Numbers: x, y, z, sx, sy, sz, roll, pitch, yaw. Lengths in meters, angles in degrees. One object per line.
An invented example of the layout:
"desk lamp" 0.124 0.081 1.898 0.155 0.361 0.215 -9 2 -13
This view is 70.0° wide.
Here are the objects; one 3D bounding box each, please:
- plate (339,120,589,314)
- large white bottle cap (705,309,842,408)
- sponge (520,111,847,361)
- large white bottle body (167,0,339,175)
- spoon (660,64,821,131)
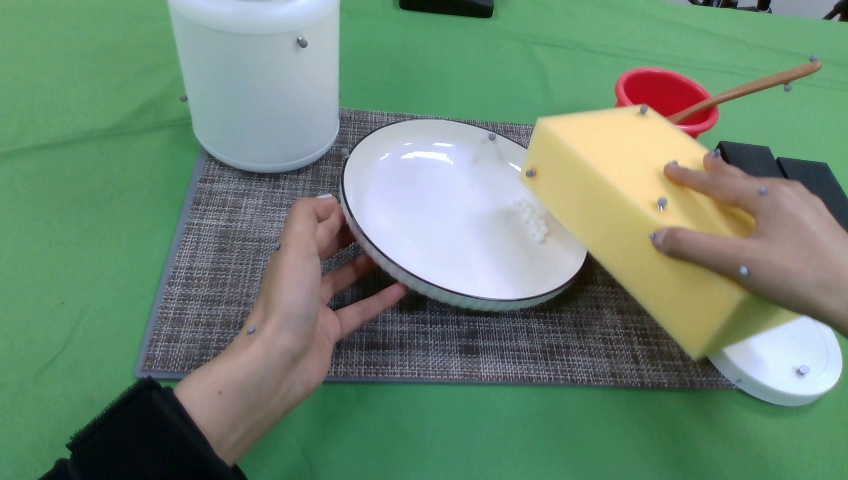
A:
"plate" 0.033 -0.020 0.497 0.210 0.038 0.207 11 45 -11
"large white bottle cap" 0.271 0.078 0.482 0.115 0.018 0.113 7 48 -8
"sponge" 0.183 -0.017 0.459 0.118 0.061 0.204 -13 45 -27
"large white bottle body" -0.136 -0.161 0.504 0.131 0.186 0.129 5 48 -5
"spoon" 0.263 -0.121 0.569 0.193 0.022 0.041 -22 39 30
